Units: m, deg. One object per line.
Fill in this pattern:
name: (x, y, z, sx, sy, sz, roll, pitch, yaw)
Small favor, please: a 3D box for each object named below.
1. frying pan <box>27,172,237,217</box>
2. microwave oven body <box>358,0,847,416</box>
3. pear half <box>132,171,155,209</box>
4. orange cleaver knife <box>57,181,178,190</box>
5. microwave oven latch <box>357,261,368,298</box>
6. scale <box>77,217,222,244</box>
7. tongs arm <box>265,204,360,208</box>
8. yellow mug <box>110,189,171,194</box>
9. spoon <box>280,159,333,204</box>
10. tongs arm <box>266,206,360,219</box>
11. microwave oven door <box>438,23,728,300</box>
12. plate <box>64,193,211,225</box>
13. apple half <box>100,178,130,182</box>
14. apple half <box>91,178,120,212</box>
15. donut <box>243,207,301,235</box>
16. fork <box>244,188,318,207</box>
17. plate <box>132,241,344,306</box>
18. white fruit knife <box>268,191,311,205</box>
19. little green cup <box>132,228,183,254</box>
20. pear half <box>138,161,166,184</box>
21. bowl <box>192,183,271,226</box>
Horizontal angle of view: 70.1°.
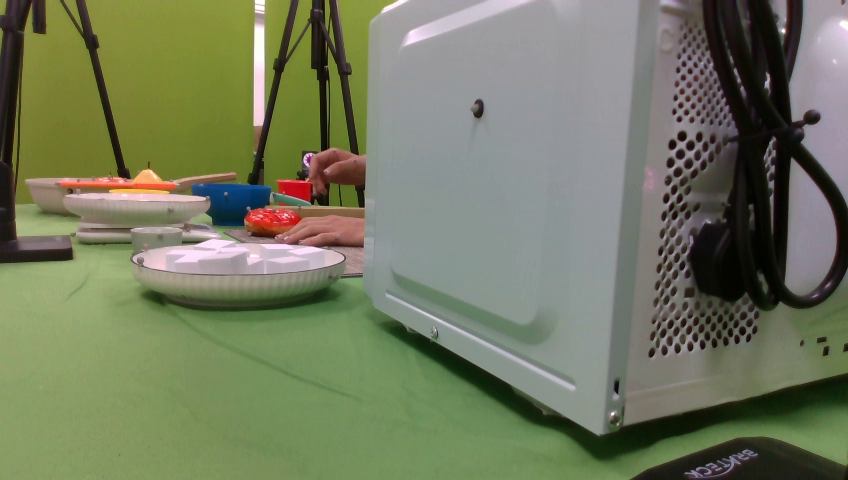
frying pan: (-0.624, -0.118, 1.387, 0.305, 0.102, 0.490, 8, 17, 32)
microwave oven body: (0.211, -0.047, 0.474, 0.444, 0.260, 0.324, -1, 7, -28)
pear half: (-0.636, -0.113, 1.362, 0.031, 0.088, 0.070, 3, 13, 1)
orange cleaver knife: (-0.600, -0.109, 1.189, 0.212, 0.012, 0.077, -1, 11, -26)
microwave oven latch: (-0.019, 0.033, 0.530, 0.079, 0.029, 0.030, -1, 7, -26)
scale: (-0.434, -0.018, 0.963, 0.202, 0.031, 0.148, -1, 8, -27)
tongs arm: (-0.209, -0.069, 1.439, 0.389, 0.027, 0.028, 1, 0, -16)
yellow mug: (-0.519, -0.055, 1.081, 0.099, 0.064, 0.131, 7, 9, 26)
spoon: (-0.317, -0.159, 1.640, 0.194, 0.022, 0.041, -49, 32, -20)
tongs arm: (-0.173, -0.061, 1.362, 0.387, 0.026, 0.050, -1, 4, -31)
microwave oven door: (0.181, -0.072, 0.621, 0.358, 0.243, 0.039, -2, 8, -29)
plate: (-0.446, -0.050, 0.952, 0.209, 0.038, 0.209, 2, 7, 0)
apple half: (-0.638, -0.093, 1.266, 0.053, 0.074, 0.081, 7, 5, 10)
apple half: (-0.677, -0.096, 1.271, 0.033, 0.081, 0.081, 7, 8, 10)
donut: (-0.261, -0.032, 1.043, 0.099, 0.048, 0.099, 4, 9, 0)
fork: (-0.356, -0.105, 1.526, 0.208, 0.018, 0.028, 16, -5, -41)
plate: (-0.187, 0.033, 0.625, 0.208, 0.039, 0.207, 2, 7, 0)
white fruit knife: (-0.364, -0.105, 1.464, 0.208, 0.027, 0.016, 15, 0, -34)
little green cup: (-0.342, 0.006, 0.779, 0.061, 0.038, 0.061, 2, 8, 0)
pear half: (-0.602, -0.120, 1.354, 0.056, 0.110, 0.076, 4, 11, 5)
bowl: (-0.382, -0.071, 1.202, 0.151, 0.077, 0.151, 3, 7, 0)
